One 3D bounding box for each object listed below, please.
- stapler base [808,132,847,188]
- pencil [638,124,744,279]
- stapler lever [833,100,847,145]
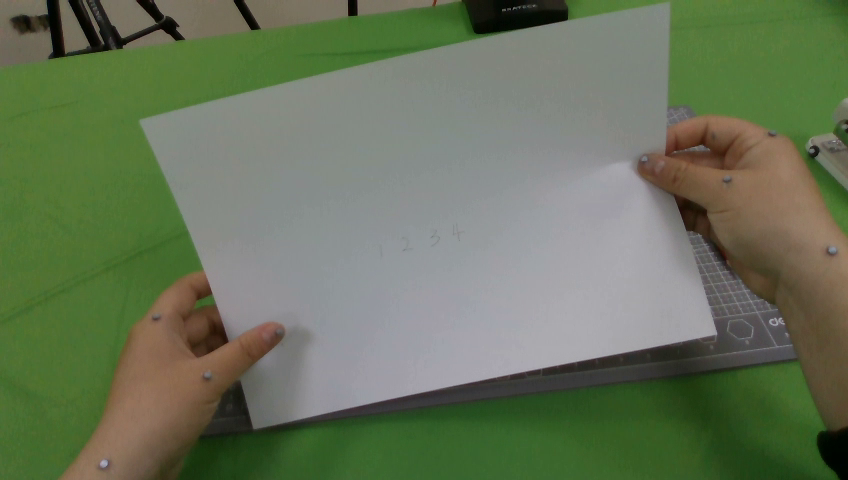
[{"bbox_3d":[0.374,-0.055,0.501,0.041,0.025,0.129,-13,47,-1],"label":"stapler base"},{"bbox_3d":[0.223,-0.039,0.513,0.012,0.012,0.192,-10,47,-2],"label":"pencil"},{"bbox_3d":[0.372,-0.071,0.482,0.027,0.040,0.116,-13,47,-1],"label":"stapler lever"}]
